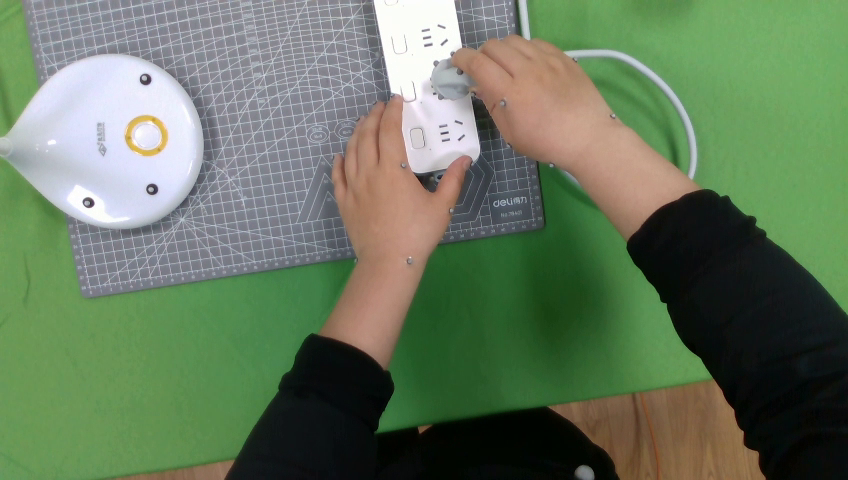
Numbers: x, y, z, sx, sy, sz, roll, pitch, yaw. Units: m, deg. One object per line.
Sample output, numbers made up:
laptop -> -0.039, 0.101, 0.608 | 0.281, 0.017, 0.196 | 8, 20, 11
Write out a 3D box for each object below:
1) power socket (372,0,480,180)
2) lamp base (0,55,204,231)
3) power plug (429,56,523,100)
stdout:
power socket -> -0.001, -0.168, 0.548 | 0.072, 0.032, 0.227 | -11, 95, 0
lamp base -> -0.296, -0.080, 0.483 | 0.179, 0.180, 0.161 | -14, 94, 4
power plug -> 0.040, -0.135, 0.518 | 0.073, 0.052, 0.035 | 9, 94, -14
